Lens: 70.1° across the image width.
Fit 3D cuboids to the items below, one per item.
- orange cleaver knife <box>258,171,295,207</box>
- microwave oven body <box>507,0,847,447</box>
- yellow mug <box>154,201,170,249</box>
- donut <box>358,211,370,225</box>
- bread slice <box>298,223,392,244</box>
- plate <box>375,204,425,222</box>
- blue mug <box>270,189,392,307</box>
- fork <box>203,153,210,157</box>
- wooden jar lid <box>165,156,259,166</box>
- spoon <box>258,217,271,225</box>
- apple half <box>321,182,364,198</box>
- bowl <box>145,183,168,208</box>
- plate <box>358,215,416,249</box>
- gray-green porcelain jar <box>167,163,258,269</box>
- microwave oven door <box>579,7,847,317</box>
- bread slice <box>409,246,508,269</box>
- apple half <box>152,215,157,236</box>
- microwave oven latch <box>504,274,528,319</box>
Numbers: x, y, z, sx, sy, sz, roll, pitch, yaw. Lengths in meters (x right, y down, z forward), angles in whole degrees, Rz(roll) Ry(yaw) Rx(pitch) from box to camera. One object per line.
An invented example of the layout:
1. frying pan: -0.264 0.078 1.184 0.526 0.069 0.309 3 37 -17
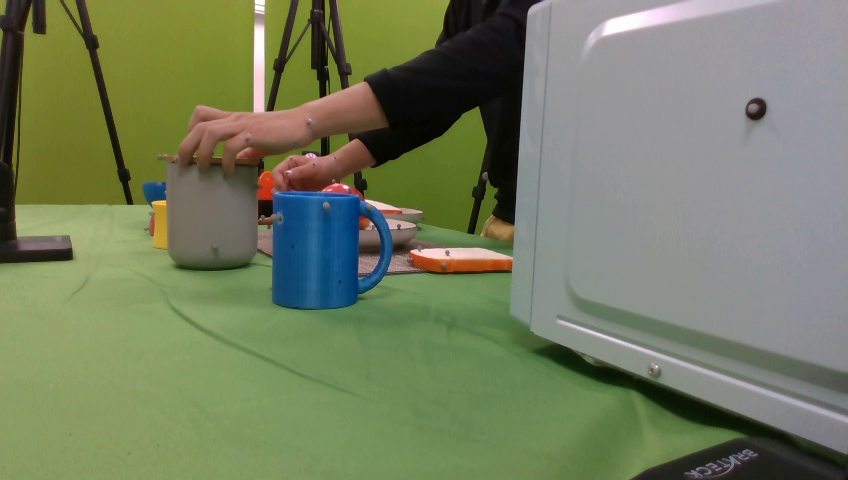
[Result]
1. orange cleaver knife: -0.283 -0.086 1.343 0.212 0.077 0.012 24 -16 -41
2. microwave oven body: 0.331 -0.042 0.425 0.444 0.260 0.324 -2 8 -31
3. yellow mug: -0.337 -0.023 0.899 0.130 0.064 0.100 8 9 34
4. donut: -0.133 -0.042 0.959 0.099 0.048 0.099 0 8 0
5. bread slice: -0.120 -0.012 0.971 0.106 0.018 0.135 10 12 42
6. plate: -0.102 -0.053 1.299 0.209 0.038 0.209 2 8 0
7. blue mug: -0.089 0.005 0.588 0.117 0.106 0.082 1 7 -10
8. fork: -0.480 -0.135 1.411 0.028 0.018 0.207 1 -34 -1
9. wooden jar lid: -0.259 -0.092 0.745 0.108 0.020 0.108 1 9 0
10. spoon: -0.197 -0.034 0.959 0.041 0.021 0.194 -35 -14 25
11. apple half: -0.129 -0.076 0.953 0.081 0.033 0.081 8 11 -1
12. bowl: -0.459 -0.069 1.175 0.151 0.077 0.151 2 7 0
13. plate: -0.116 -0.014 0.967 0.208 0.039 0.207 2 8 0
14. gray-green porcelain jar: -0.261 -0.031 0.753 0.106 0.126 0.106 2 7 0
15. microwave oven door: 0.294 -0.067 0.570 0.358 0.243 0.039 -3 9 -31
16. bread slice: 0.048 0.021 0.816 0.132 0.019 0.104 0 7 -24
17. apple half: -0.415 -0.034 1.017 0.081 0.053 0.074 1 10 -9
18. microwave oven latch: 0.100 0.041 0.469 0.079 0.029 0.030 -1 7 -25
